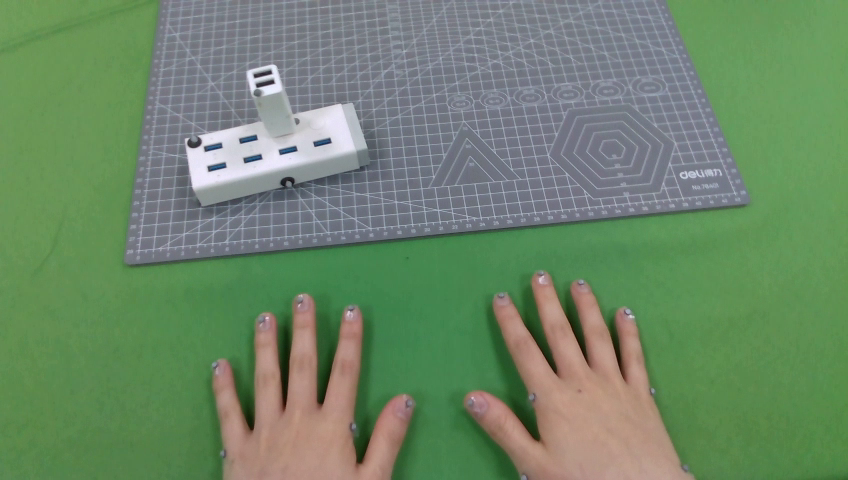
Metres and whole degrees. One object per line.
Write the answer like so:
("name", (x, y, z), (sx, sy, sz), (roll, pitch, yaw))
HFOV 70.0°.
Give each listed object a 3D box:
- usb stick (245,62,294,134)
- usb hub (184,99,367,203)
("usb stick", (-0.107, -0.095, 0.429), (0.021, 0.059, 0.027), (-17, 62, -7))
("usb hub", (-0.109, -0.068, 0.447), (0.125, 0.025, 0.049), (-15, 63, -9))
